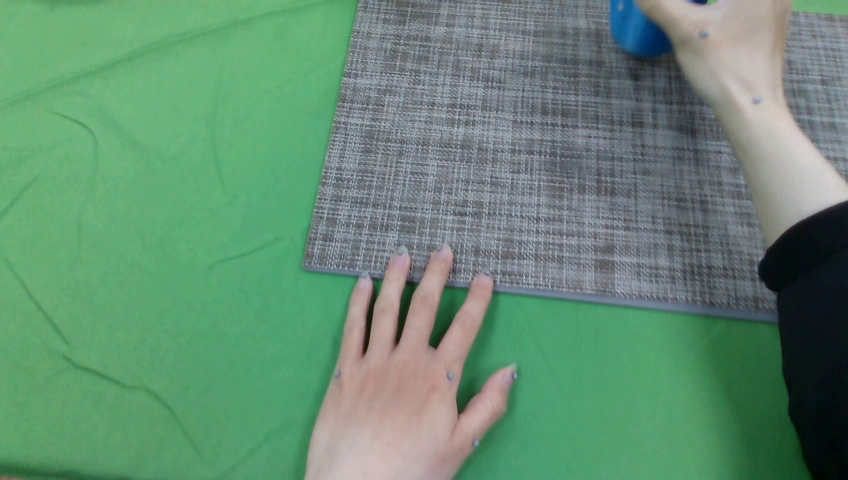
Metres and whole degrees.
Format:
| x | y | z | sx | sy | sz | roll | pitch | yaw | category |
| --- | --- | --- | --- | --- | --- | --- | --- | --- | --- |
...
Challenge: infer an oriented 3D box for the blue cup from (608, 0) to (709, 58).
| x | y | z | sx | sy | sz | roll | pitch | yaw | category |
| --- | --- | --- | --- | --- | --- | --- | --- | --- | --- |
| 0.184 | -0.198 | 0.470 | 0.092 | 0.101 | 0.092 | -1 | 65 | 3 | blue cup |
